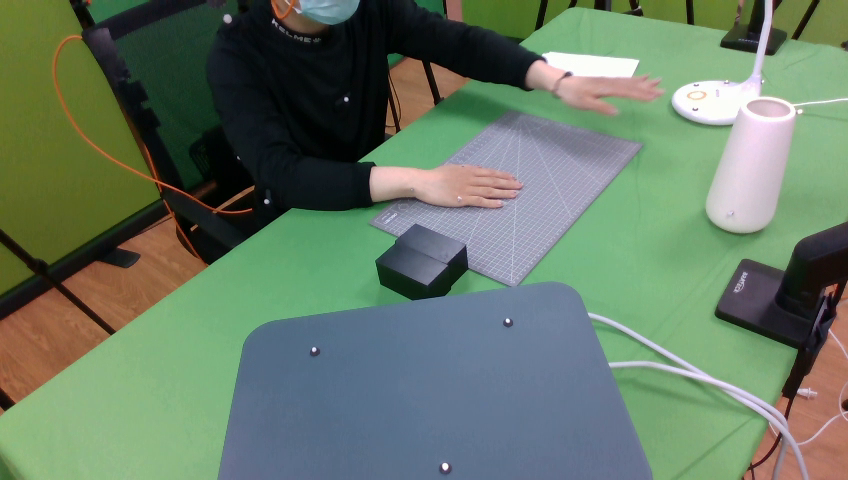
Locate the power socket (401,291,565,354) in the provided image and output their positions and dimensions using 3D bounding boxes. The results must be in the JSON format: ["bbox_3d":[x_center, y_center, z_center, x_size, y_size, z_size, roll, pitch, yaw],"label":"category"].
[{"bbox_3d":[0.079,0.111,0.823,0.227,0.033,0.072,-5,41,1],"label":"power socket"}]

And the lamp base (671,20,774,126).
[{"bbox_3d":[0.581,-0.332,1.154,0.179,0.181,0.160,2,42,7],"label":"lamp base"}]

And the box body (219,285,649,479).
[{"bbox_3d":[0.005,0.210,0.618,0.364,0.161,0.252,-8,40,-1],"label":"box body"}]

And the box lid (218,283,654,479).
[{"bbox_3d":[-0.004,0.154,0.571,0.372,0.015,0.261,-8,40,-1],"label":"box lid"}]

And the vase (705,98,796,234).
[{"bbox_3d":[0.480,-0.104,0.889,0.098,0.201,0.097,-4,42,4],"label":"vase"}]

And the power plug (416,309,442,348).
[{"bbox_3d":[0.004,0.121,0.787,0.035,0.053,0.072,3,46,8],"label":"power plug"}]
